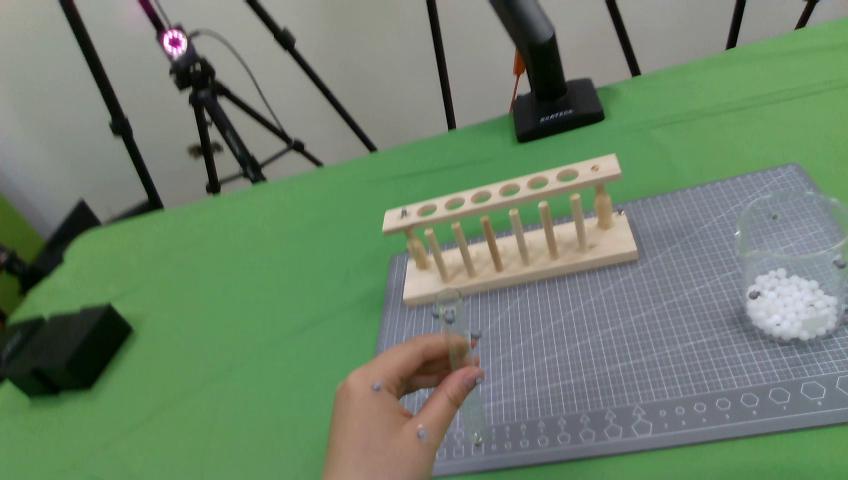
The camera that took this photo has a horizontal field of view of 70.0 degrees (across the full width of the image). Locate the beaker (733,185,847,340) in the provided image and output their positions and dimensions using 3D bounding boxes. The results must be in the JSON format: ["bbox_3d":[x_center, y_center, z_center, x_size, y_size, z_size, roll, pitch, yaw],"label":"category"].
[{"bbox_3d":[0.277,0.022,0.460,0.084,0.101,0.073,-25,35,0],"label":"beaker"}]

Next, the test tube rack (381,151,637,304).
[{"bbox_3d":[0.083,-0.009,0.620,0.242,0.086,0.066,-13,37,14],"label":"test tube rack"}]

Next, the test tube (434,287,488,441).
[{"bbox_3d":[0.026,0.086,0.389,0.017,0.152,0.017,-7,41,7],"label":"test tube"}]
